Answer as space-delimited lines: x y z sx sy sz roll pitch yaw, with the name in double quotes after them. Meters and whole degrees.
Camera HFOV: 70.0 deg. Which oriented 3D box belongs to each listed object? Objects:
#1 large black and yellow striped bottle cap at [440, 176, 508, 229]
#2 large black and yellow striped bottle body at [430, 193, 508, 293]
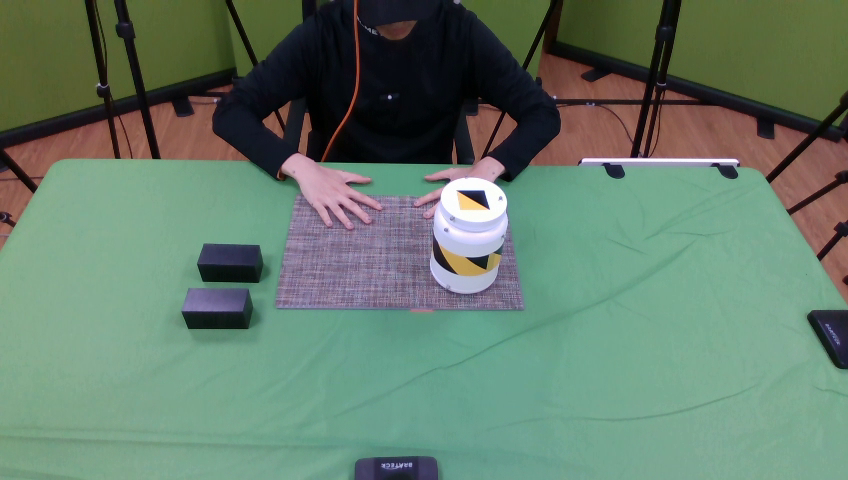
0.085 -0.066 1.032 0.115 0.019 0.114 1 47 -1 "large black and yellow striped bottle cap"
0.080 -0.008 1.092 0.131 0.185 0.130 2 46 -2 "large black and yellow striped bottle body"
